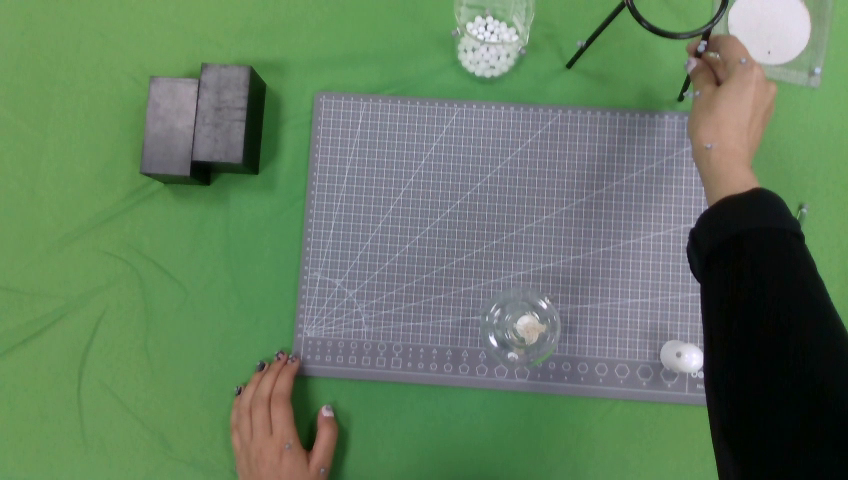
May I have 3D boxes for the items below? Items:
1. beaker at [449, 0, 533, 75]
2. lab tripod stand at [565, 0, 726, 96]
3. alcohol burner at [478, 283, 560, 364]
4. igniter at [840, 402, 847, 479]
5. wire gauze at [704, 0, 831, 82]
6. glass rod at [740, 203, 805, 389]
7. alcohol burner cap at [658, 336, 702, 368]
[{"bbox_3d":[0.066,-0.211,0.599,0.074,0.100,0.084,-40,86,-1],"label":"beaker"},{"bbox_3d":[0.216,-0.215,0.578,0.148,0.132,0.148,0,83,3],"label":"lab tripod stand"},{"bbox_3d":[0.091,0.078,0.564,0.078,0.119,0.077,0,83,1],"label":"alcohol burner"},{"bbox_3d":[0.440,0.152,0.593,0.057,0.025,0.276,12,86,-8],"label":"igniter"},{"bbox_3d":[0.362,-0.236,0.638,0.125,0.011,0.121,11,85,5],"label":"wire gauze"},{"bbox_3d":[0.353,0.056,0.614,0.008,0.008,0.199,20,86,3],"label":"glass rod"},{"bbox_3d":[0.252,0.111,0.592,0.034,0.048,0.034,0,84,3],"label":"alcohol burner cap"}]
